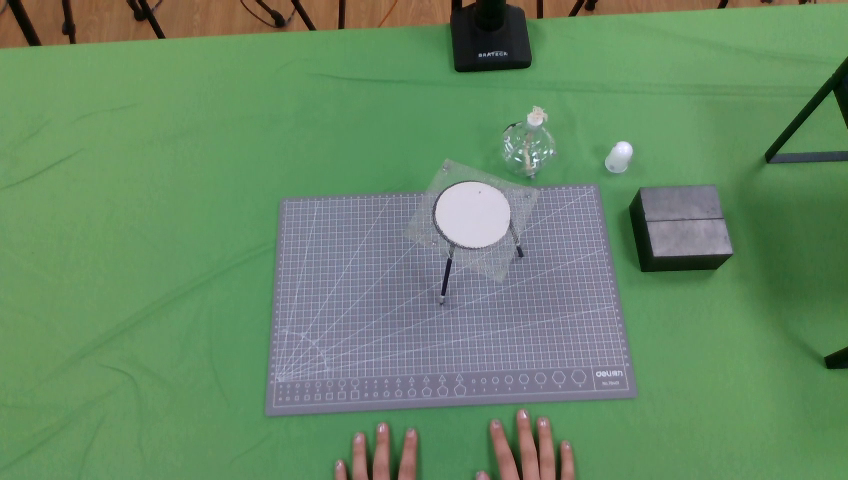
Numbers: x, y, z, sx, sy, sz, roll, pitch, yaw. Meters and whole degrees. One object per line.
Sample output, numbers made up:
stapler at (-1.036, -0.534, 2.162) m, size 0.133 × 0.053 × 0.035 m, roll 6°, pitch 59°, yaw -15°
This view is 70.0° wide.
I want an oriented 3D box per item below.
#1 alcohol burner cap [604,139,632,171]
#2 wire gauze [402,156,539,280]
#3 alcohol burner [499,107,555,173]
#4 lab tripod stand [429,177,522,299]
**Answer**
alcohol burner cap at (0.275, -0.121, 0.853) m, size 0.034 × 0.048 × 0.033 m, roll -1°, pitch 65°, yaw 2°
wire gauze at (0.054, -0.031, 0.688) m, size 0.124 × 0.011 × 0.121 m, roll 24°, pitch 68°, yaw 10°
alcohol burner at (0.143, -0.143, 0.825) m, size 0.078 × 0.120 × 0.077 m, roll 0°, pitch 65°, yaw 0°
lab tripod stand at (0.057, -0.009, 0.751) m, size 0.148 × 0.132 × 0.147 m, roll 0°, pitch 64°, yaw 0°
